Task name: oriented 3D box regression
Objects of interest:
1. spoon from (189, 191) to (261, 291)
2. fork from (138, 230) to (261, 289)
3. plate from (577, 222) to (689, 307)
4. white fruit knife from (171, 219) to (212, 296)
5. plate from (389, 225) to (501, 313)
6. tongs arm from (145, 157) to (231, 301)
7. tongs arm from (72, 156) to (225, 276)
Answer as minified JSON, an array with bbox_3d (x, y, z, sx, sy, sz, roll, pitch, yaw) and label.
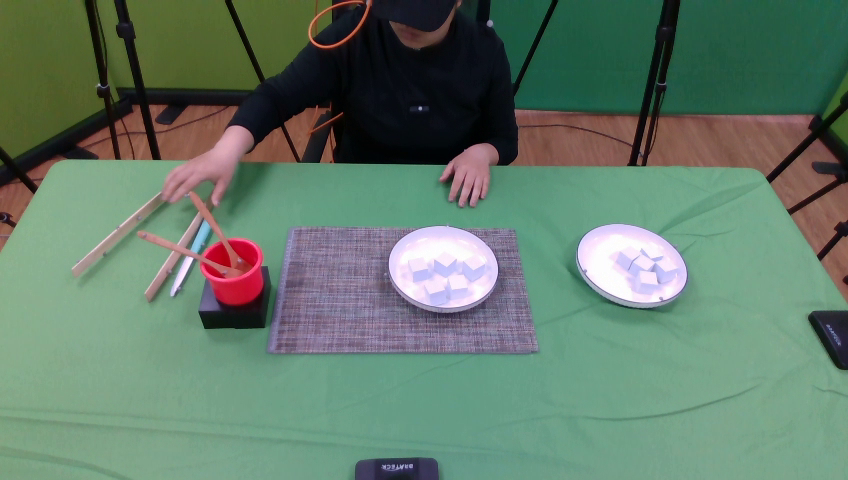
[{"bbox_3d":[-0.333,0.001,1.012,0.041,0.194,0.021,-34,15,-25],"label":"spoon"},{"bbox_3d":[-0.360,0.032,0.981,0.208,0.018,0.028,31,60,-30],"label":"fork"},{"bbox_3d":[0.396,0.050,1.165,0.209,0.038,0.208,2,47,-2],"label":"plate"},{"bbox_3d":[-0.436,0.025,1.148,0.027,0.016,0.206,-15,43,22],"label":"white fruit knife"},{"bbox_3d":[0.038,0.057,1.129,0.208,0.039,0.206,2,46,-2],"label":"plate"},{"bbox_3d":[-0.455,-0.034,1.194,0.028,0.028,0.385,7,46,6],"label":"tongs arm"},{"bbox_3d":[-0.531,-0.058,1.205,0.050,0.026,0.383,19,47,12],"label":"tongs arm"}]
